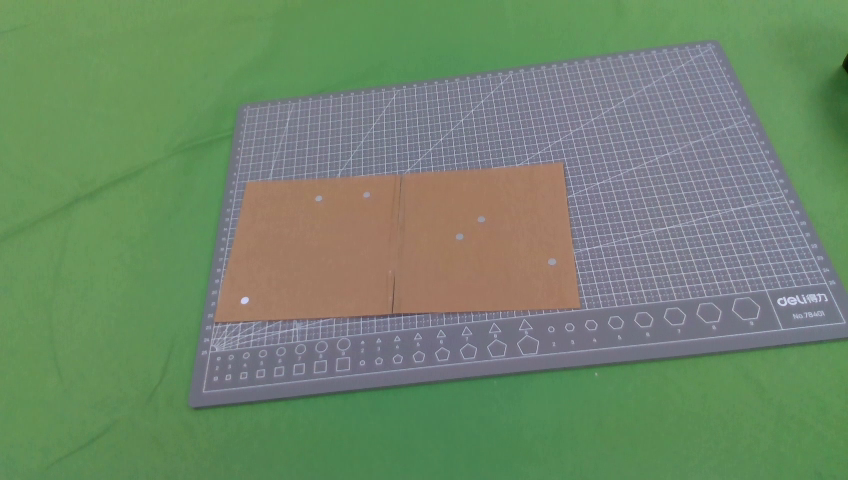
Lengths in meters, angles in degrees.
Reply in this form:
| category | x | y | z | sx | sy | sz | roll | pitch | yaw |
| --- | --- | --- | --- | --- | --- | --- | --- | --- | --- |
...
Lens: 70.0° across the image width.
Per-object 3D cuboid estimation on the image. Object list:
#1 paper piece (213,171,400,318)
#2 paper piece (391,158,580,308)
| category | x | y | z | sx | sy | sz | roll | pitch | yaw |
| --- | --- | --- | --- | --- | --- | --- | --- | --- | --- |
| paper piece | -0.088 | -0.001 | 0.478 | 0.138 | 0.009 | 0.134 | -2 | 52 | 8 |
| paper piece | 0.044 | -0.009 | 0.463 | 0.135 | 0.004 | 0.134 | -2 | 56 | 6 |
